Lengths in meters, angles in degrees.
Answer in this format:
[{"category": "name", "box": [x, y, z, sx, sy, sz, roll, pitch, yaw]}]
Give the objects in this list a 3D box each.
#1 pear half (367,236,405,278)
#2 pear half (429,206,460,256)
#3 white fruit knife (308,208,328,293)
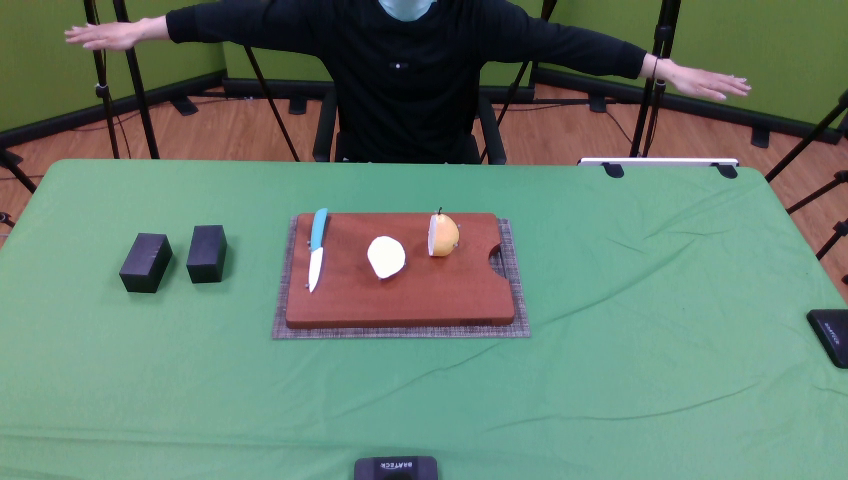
[{"category": "pear half", "box": [-0.072, 0.036, 1.106, 0.070, 0.031, 0.087, 18, 59, -7]}, {"category": "pear half", "box": [0.039, -0.021, 1.117, 0.056, 0.110, 0.076, -5, 50, -9]}, {"category": "white fruit knife", "box": [-0.201, 0.016, 1.128, 0.027, 0.016, 0.206, -9, 47, 8]}]
